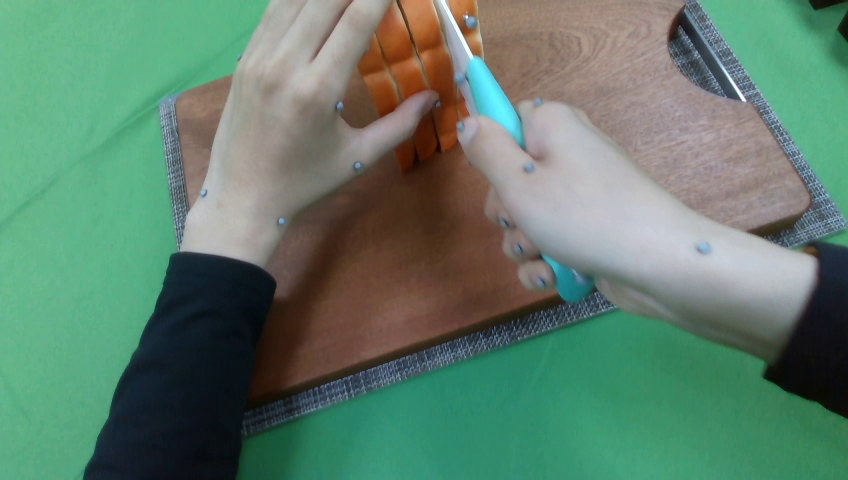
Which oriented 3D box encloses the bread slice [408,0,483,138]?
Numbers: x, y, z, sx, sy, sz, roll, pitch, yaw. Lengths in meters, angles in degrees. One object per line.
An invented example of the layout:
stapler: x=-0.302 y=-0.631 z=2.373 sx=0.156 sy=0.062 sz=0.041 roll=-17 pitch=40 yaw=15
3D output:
bread slice: x=0.012 y=-0.144 z=0.397 sx=0.019 sy=0.132 sz=0.104 roll=-21 pitch=65 yaw=-5

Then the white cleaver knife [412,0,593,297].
white cleaver knife: x=0.025 y=-0.097 z=0.348 sx=0.021 sy=0.066 sz=0.284 roll=-22 pitch=71 yaw=-1

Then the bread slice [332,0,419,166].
bread slice: x=-0.038 y=-0.127 z=0.398 sx=0.018 sy=0.135 sz=0.106 roll=-24 pitch=62 yaw=1
